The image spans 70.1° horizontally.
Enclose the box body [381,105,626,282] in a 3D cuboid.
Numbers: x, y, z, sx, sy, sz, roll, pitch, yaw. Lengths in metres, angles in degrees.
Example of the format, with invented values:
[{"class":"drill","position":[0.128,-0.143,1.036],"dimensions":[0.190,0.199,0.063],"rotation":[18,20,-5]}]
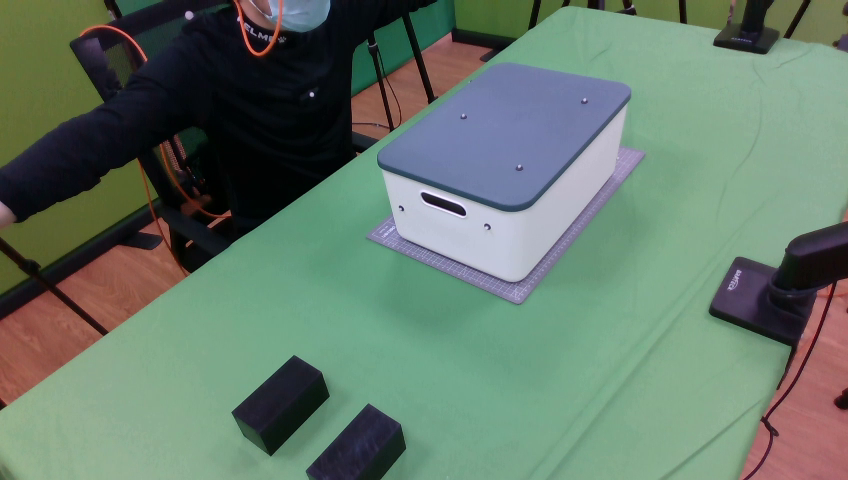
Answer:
[{"class":"box body","position":[0.137,-0.121,0.978],"dimensions":[0.252,0.161,0.365],"rotation":[22,49,30]}]

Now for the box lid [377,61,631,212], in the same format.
[{"class":"box lid","position":[0.131,-0.178,0.930],"dimensions":[0.261,0.015,0.372],"rotation":[22,49,30]}]
